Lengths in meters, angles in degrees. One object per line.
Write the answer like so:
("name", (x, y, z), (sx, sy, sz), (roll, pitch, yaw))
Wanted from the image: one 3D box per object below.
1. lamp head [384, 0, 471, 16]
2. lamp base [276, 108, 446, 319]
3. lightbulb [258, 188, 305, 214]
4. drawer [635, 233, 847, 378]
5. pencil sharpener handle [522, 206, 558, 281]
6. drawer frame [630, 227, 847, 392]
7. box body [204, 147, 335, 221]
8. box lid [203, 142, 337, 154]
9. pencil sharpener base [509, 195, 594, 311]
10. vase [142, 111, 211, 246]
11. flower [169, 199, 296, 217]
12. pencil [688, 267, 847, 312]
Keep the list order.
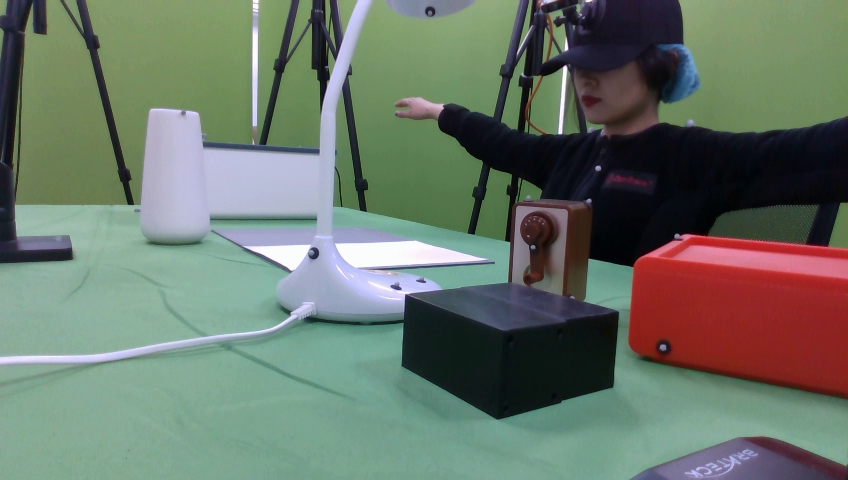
("lamp head", (-0.001, -0.301, 0.599), (0.112, 0.112, 0.123), (4, -30, 14))
("lamp base", (-0.061, -0.027, 0.556), (0.160, 0.180, 0.180), (5, 10, 20))
("lightbulb", (-0.325, -0.082, 1.382), (0.108, 0.059, 0.059), (-15, 9, -6))
("drawer", (0.292, 0.045, 0.488), (0.193, 0.073, 0.213), (7, 9, 30))
("pencil sharpener handle", (0.102, 0.003, 0.555), (0.036, 0.067, 0.031), (0, 5, 31))
("drawer frame", (0.292, 0.043, 0.484), (0.201, 0.082, 0.214), (7, 9, 29))
("box body", (-0.411, -0.135, 1.386), (0.366, 0.160, 0.253), (-2, 9, -29))
("box lid", (-0.405, -0.209, 1.377), (0.373, 0.015, 0.262), (-1, 9, -29))
("pencil sharpener base", (0.126, 0.011, 0.601), (0.061, 0.107, 0.077), (7, 9, 30))
("vase", (-0.378, -0.093, 0.920), (0.098, 0.200, 0.098), (2, 9, 0))
("flower", (-0.423, -0.069, 1.399), (0.044, 0.038, 0.363), (2, 2, 31))
("pencil", (0.308, 0.044, 0.515), (0.194, 0.012, 0.012), (13, 5, -12))
